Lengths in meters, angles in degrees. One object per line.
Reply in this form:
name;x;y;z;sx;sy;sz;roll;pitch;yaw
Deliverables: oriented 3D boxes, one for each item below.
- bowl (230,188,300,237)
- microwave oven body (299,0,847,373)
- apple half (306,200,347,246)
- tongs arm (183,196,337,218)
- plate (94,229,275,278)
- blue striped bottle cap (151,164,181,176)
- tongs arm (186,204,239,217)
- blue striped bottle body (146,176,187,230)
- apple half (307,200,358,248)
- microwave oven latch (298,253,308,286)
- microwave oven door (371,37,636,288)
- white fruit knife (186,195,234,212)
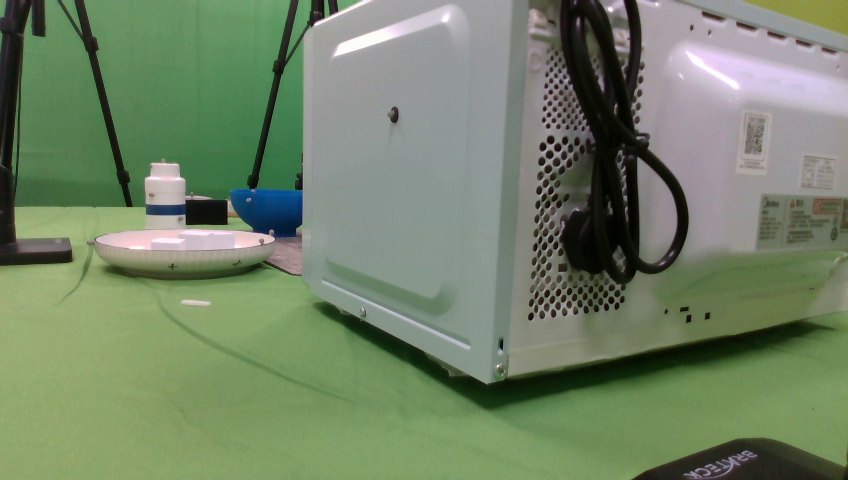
bowl;-0.264;-0.048;1.066;0.151;0.077;0.151;3;8;0
microwave oven body;0.152;-0.055;0.542;0.444;0.260;0.324;-2;7;-33
apple half;-0.162;-0.029;0.965;0.032;0.081;0.082;13;12;43
tongs arm;-0.404;-0.081;1.479;0.385;0.026;0.050;3;8;-2
plate;-0.291;0.016;0.750;0.208;0.039;0.207;2;7;0
blue striped bottle cap;-0.428;-0.116;1.002;0.044;0.020;0.044;1;6;0
tongs arm;-0.396;-0.067;1.399;0.389;0.028;0.028;1;5;-15
blue striped bottle body;-0.430;-0.065;1.010;0.063;0.120;0.063;2;7;0
apple half;-0.134;-0.024;0.938;0.053;0.074;0.081;14;10;43
microwave oven latch;-0.081;0.027;0.582;0.079;0.029;0.030;-2;7;-33
microwave oven door;0.109;-0.080;0.686;0.358;0.243;0.039;-2;9;-33
white fruit knife;-0.401;-0.071;1.275;0.208;0.027;0.016;10;0;-35
